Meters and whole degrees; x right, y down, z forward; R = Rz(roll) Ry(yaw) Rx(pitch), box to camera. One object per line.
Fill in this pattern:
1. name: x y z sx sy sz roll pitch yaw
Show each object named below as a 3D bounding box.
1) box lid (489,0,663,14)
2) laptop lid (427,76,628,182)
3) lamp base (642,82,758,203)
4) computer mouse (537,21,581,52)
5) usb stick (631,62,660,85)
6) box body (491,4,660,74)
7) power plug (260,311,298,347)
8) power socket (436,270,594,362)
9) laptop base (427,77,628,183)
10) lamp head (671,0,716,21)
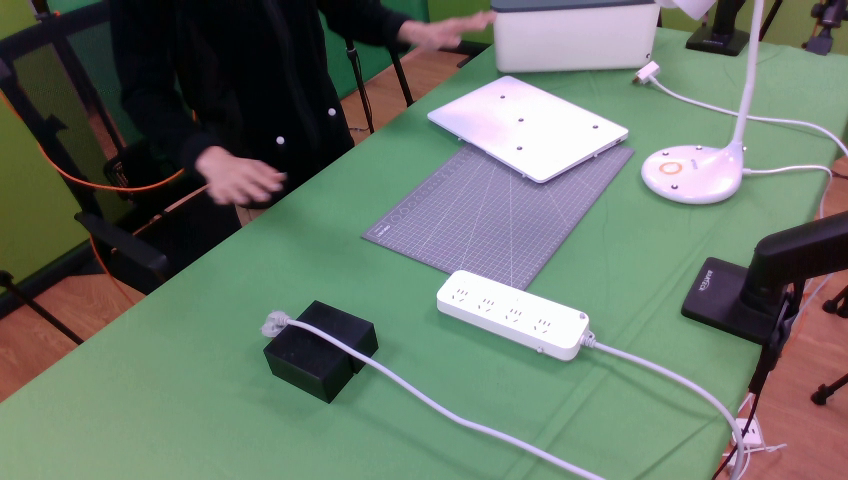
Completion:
1. box lid: 0.340 -0.575 1.380 0.371 0.015 0.262 0 41 9
2. laptop lid: 0.196 -0.237 1.213 0.242 0.013 0.353 -29 44 -21
3. lamp base: 0.464 -0.174 0.992 0.179 0.181 0.159 -5 41 -2
4. computer mouse: 0.335 -0.503 1.487 0.118 0.041 0.062 22 18 -28
5. usb stick: 0.480 -0.358 1.317 0.059 0.022 0.027 -35 56 14
6. box body: 0.346 -0.520 1.429 0.363 0.161 0.253 0 41 9
7. power plug: -0.197 0.127 0.822 0.035 0.053 0.072 -17 23 -30
8. power socket: 0.118 0.101 0.832 0.225 0.033 0.072 19 48 27
9. laptop base: 0.199 -0.229 1.222 0.236 0.023 0.351 -31 45 -22
10. lamp head: 0.375 -0.373 0.807 0.122 0.113 0.112 -40 27 32
